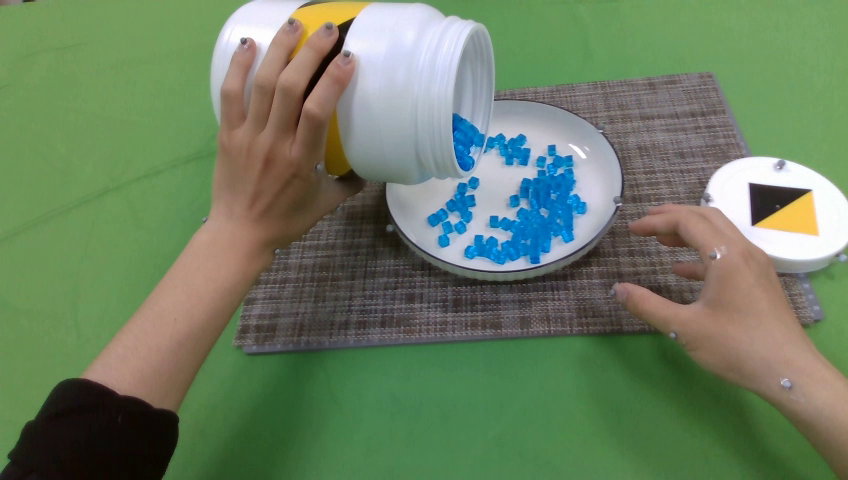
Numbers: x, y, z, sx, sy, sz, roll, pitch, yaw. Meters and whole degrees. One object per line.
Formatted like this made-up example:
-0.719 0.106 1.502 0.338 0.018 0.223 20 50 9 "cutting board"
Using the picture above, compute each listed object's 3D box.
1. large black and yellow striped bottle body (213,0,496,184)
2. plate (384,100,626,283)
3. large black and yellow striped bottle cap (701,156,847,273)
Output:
-0.047 -0.113 0.462 0.183 0.132 0.130 9 54 19 "large black and yellow striped bottle body"
0.070 -0.044 0.538 0.207 0.039 0.205 -4 52 5 "plate"
0.292 -0.024 0.503 0.115 0.019 0.114 -2 53 2 "large black and yellow striped bottle cap"
